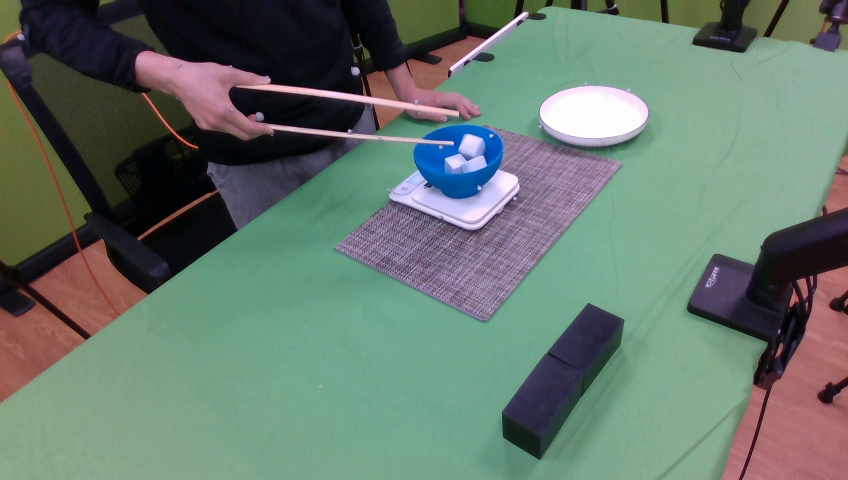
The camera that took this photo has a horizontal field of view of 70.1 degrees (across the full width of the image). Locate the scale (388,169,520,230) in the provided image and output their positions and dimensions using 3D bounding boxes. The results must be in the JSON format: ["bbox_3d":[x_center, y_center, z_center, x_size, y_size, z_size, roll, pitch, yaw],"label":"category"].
[{"bbox_3d":[0.050,-0.090,1.051,0.199,0.032,0.149,24,49,31],"label":"scale"}]

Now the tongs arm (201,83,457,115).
[{"bbox_3d":[-0.141,-0.212,0.924,0.388,0.028,0.027,5,27,-3],"label":"tongs arm"}]

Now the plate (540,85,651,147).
[{"bbox_3d":[0.333,-0.238,1.186,0.207,0.039,0.206,-4,41,4],"label":"plate"}]

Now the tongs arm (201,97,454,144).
[{"bbox_3d":[-0.144,-0.184,0.935,0.385,0.051,0.026,3,23,-3],"label":"tongs arm"}]

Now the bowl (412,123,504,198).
[{"bbox_3d":[0.060,-0.123,1.007,0.151,0.077,0.150,-5,41,5],"label":"bowl"}]
